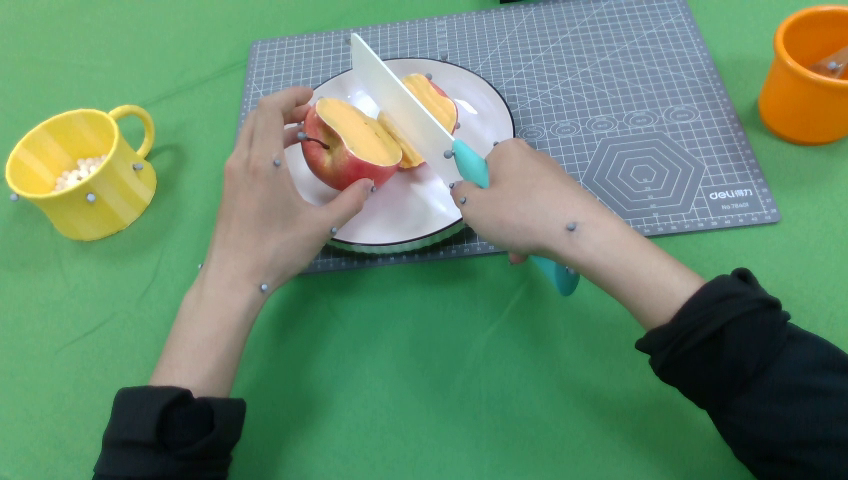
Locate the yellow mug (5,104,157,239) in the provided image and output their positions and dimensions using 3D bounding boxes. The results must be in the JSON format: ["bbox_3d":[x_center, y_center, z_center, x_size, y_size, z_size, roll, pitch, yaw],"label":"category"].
[{"bbox_3d":[-0.293,-0.071,0.544,0.099,0.064,0.130,25,63,22],"label":"yellow mug"}]

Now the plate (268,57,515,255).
[{"bbox_3d":[-0.027,-0.072,0.519,0.209,0.038,0.207,-4,57,6],"label":"plate"}]

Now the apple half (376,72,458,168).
[{"bbox_3d":[-0.003,-0.099,0.521,0.081,0.033,0.081,-2,86,30],"label":"apple half"}]

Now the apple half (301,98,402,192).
[{"bbox_3d":[-0.063,-0.070,0.494,0.080,0.075,0.053,46,118,10],"label":"apple half"}]

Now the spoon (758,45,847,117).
[{"bbox_3d":[0.347,-0.158,0.454,0.022,0.194,0.041,19,47,-32],"label":"spoon"}]

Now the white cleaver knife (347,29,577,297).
[{"bbox_3d":[0.017,-0.065,0.459,0.021,0.066,0.283,-29,61,-16],"label":"white cleaver knife"}]
